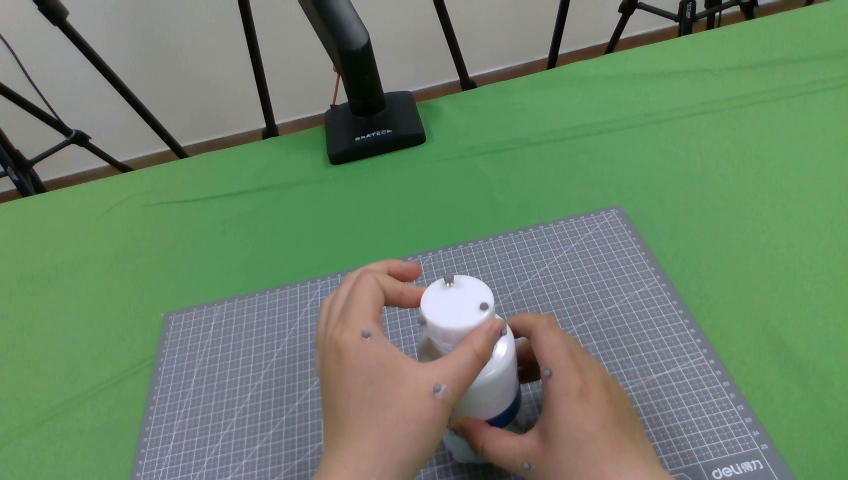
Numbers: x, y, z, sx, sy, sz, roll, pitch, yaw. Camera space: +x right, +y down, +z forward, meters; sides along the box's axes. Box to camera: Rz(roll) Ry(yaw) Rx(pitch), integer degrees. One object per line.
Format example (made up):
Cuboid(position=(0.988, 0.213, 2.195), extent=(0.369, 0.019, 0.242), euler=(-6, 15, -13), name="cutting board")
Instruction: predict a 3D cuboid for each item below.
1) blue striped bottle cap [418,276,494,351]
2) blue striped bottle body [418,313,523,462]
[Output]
Cuboid(position=(0.019, 0.042, 0.356), extent=(0.044, 0.021, 0.044), euler=(-3, 40, 3), name="blue striped bottle cap")
Cuboid(position=(0.032, 0.091, 0.401), extent=(0.063, 0.122, 0.062), euler=(-6, 43, 6), name="blue striped bottle body")
